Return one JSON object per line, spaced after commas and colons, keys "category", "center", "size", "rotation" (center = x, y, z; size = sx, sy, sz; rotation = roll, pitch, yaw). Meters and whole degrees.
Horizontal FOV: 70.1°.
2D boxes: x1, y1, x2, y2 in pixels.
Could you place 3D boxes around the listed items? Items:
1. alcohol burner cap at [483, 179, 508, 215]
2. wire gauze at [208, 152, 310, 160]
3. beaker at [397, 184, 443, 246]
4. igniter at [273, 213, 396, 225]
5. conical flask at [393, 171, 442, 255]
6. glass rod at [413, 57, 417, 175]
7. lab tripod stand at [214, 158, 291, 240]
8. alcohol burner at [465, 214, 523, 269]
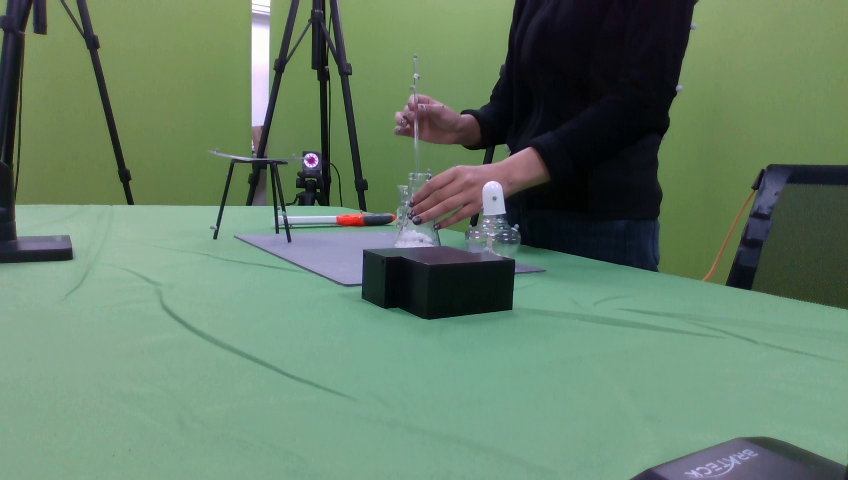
{"category": "alcohol burner cap", "center": [0.094, -0.057, 0.810], "size": [0.034, 0.048, 0.034], "rotation": [-7, 6, 1]}
{"category": "wire gauze", "center": [-0.270, -0.135, 0.993], "size": [0.124, 0.011, 0.122], "rotation": [8, 8, 41]}
{"category": "beaker", "center": [-0.011, -0.043, 1.004], "size": [0.083, 0.100, 0.074], "rotation": [8, 9, 39]}
{"category": "igniter", "center": [-0.178, -0.044, 1.258], "size": [0.278, 0.025, 0.057], "rotation": [-3, -1, -39]}
{"category": "conical flask", "center": [-0.008, -0.042, 0.903], "size": [0.075, 0.122, 0.075], "rotation": [2, 7, 0]}
{"category": "glass rod", "center": [-0.014, -0.207, 1.007], "size": [0.008, 0.199, 0.008], "rotation": [0, -3, 0]}
{"category": "lab tripod stand", "center": [-0.268, -0.068, 1.002], "size": [0.148, 0.131, 0.148], "rotation": [3, 6, 0]}
{"category": "alcohol burner", "center": [0.094, -0.022, 0.815], "size": [0.078, 0.119, 0.078], "rotation": [0, 7, 0]}
